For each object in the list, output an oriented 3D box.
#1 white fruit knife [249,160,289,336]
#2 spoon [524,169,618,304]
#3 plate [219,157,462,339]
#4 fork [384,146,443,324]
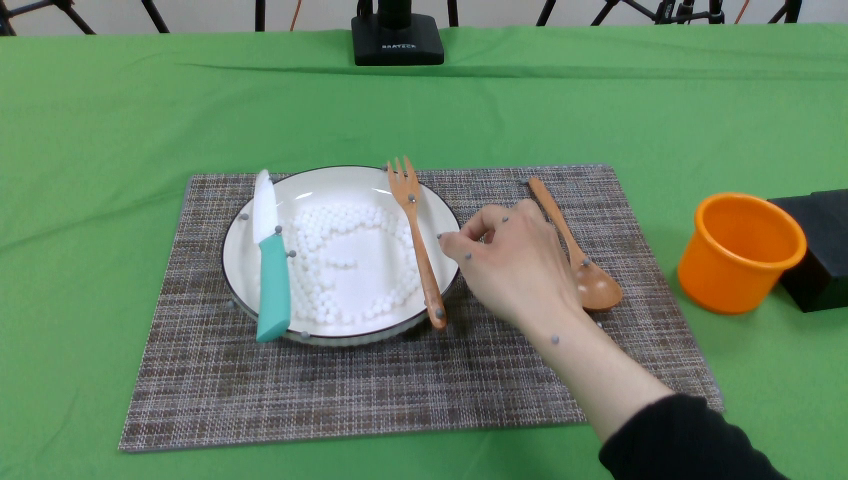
[{"bbox_3d":[-0.134,-0.005,0.513,0.027,0.016,0.205,-10,47,-9],"label":"white fruit knife"},{"bbox_3d":[0.133,-0.011,0.578,0.041,0.022,0.191,-19,49,3],"label":"spoon"},{"bbox_3d":[-0.071,0.005,0.538,0.209,0.038,0.207,2,46,-2],"label":"plate"},{"bbox_3d":[-0.010,-0.013,0.529,0.028,0.019,0.205,-10,47,-5],"label":"fork"}]
